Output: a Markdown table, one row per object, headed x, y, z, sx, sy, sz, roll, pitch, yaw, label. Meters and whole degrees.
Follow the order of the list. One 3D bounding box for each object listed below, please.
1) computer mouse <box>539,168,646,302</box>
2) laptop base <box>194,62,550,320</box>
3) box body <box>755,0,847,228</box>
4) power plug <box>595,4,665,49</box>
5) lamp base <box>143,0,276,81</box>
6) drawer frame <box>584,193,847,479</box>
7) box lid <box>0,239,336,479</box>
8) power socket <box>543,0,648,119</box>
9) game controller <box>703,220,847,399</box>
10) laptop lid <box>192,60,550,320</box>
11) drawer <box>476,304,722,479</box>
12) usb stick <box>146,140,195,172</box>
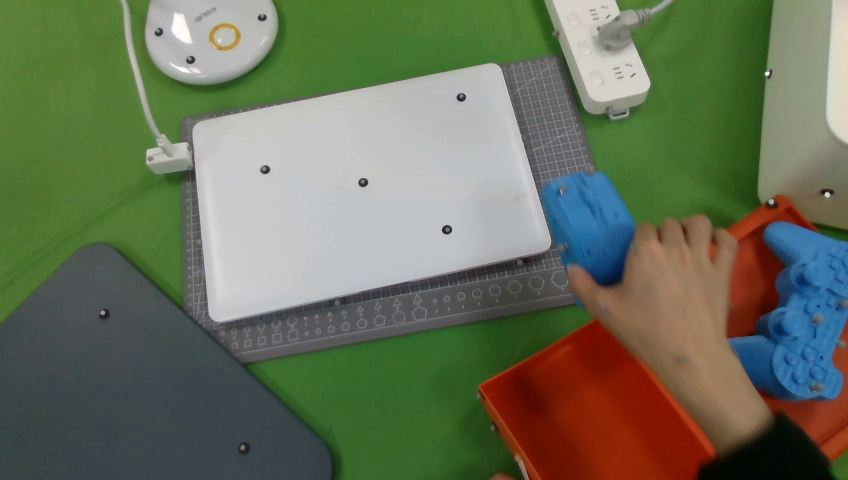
| x | y | z | sx | sy | sz | roll | pitch | yaw | label |
| --- | --- | --- | --- | --- | --- | --- | --- | --- | --- |
| 0.141 | -0.007 | 0.507 | 0.063 | 0.041 | 0.116 | -11 | 73 | -10 | computer mouse |
| -0.064 | -0.060 | 0.654 | 0.354 | 0.023 | 0.234 | -12 | 73 | -2 | laptop base |
| 0.492 | -0.186 | 0.598 | 0.254 | 0.161 | 0.362 | 13 | 70 | 7 | box body |
| 0.227 | -0.230 | 0.673 | 0.072 | 0.053 | 0.035 | -2 | 68 | 1 | power plug |
| -0.273 | -0.296 | 0.668 | 0.178 | 0.181 | 0.160 | 37 | 75 | 18 | lamp base |
| 0.290 | 0.096 | 0.545 | 0.213 | 0.083 | 0.200 | -31 | 70 | -9 | drawer frame |
| -0.294 | 0.188 | 0.576 | 0.369 | 0.015 | 0.263 | 38 | 76 | 15 | box lid |
| 0.192 | -0.245 | 0.705 | 0.072 | 0.033 | 0.225 | -12 | 69 | -4 | power socket |
| 0.310 | 0.058 | 0.504 | 0.097 | 0.052 | 0.155 | 31 | 74 | 10 | game controller |
| -0.065 | -0.062 | 0.642 | 0.357 | 0.013 | 0.240 | -11 | 72 | -1 | laptop lid |
| 0.181 | 0.162 | 0.528 | 0.212 | 0.074 | 0.193 | -29 | 70 | -8 | drawer |
| -0.270 | -0.093 | 0.663 | 0.059 | 0.027 | 0.021 | -7 | 63 | -4 | usb stick |
